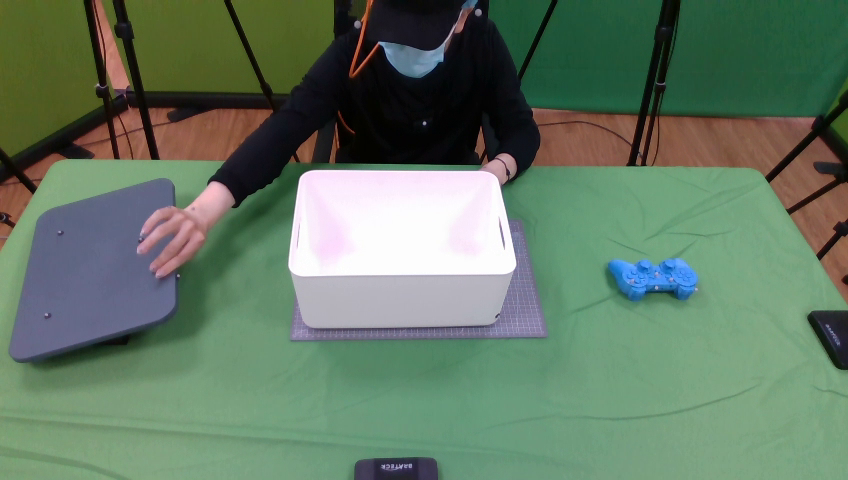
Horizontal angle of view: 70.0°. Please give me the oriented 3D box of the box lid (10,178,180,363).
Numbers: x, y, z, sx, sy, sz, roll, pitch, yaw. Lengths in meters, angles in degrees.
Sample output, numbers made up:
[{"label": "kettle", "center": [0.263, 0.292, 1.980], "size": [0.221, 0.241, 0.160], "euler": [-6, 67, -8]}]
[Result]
[{"label": "box lid", "center": [-0.563, 0.035, 1.064], "size": [0.263, 0.015, 0.369], "euler": [-17, 47, -7]}]

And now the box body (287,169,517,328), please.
[{"label": "box body", "center": [-0.040, 0.015, 1.075], "size": [0.364, 0.161, 0.252], "euler": [-1, 47, -4]}]

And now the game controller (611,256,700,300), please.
[{"label": "game controller", "center": [0.441, 0.063, 1.144], "size": [0.155, 0.052, 0.096], "euler": [-1, 50, -4]}]
